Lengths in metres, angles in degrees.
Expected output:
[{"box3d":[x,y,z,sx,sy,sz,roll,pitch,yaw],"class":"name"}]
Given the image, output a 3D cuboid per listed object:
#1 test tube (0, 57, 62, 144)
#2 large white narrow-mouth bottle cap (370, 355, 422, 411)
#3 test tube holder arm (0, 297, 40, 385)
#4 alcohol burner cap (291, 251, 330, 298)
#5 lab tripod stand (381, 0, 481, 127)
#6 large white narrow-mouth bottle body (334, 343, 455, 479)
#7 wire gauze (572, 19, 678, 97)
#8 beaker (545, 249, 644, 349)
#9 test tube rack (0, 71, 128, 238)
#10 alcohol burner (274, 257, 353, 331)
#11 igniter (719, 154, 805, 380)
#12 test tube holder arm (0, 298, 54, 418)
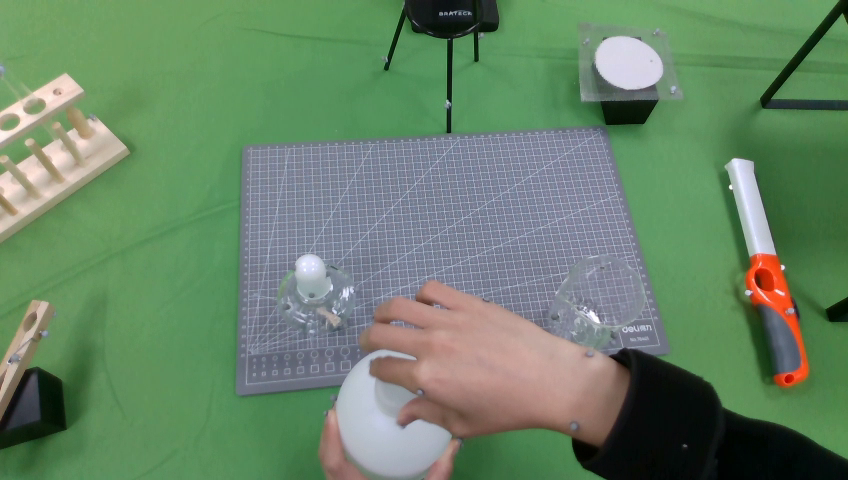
[{"box3d":[-0.414,-0.148,0.626,0.017,0.151,0.017,0,62,0],"class":"test tube"},{"box3d":[-0.020,0.101,0.429,0.038,0.024,0.037,2,64,-3],"class":"large white narrow-mouth bottle cap"},{"box3d":[-0.371,0.095,0.553,0.010,0.015,0.087,6,64,6],"class":"test tube holder arm"},{"box3d":[-0.107,0.030,0.559,0.034,0.048,0.033,0,59,0],"class":"alcohol burner cap"},{"box3d":[0.018,-0.233,0.726,0.148,0.132,0.147,2,65,-5],"class":"lab tripod stand"},{"box3d":[-0.025,0.142,0.509,0.102,0.196,0.101,1,64,-3],"class":"large white narrow-mouth bottle body"},{"box3d":[0.247,-0.226,0.753,0.121,0.011,0.124,3,64,-2],"class":"wire gauze"},{"box3d":[0.163,0.064,0.609,0.084,0.101,0.073,-3,64,-4],"class":"beaker"},{"box3d":[-0.451,-0.067,0.640,0.066,0.086,0.242,41,68,15],"class":"test tube rack"},{"box3d":[-0.109,0.045,0.592,0.078,0.120,0.077,2,62,-4],"class":"alcohol burner"},{"box3d":[0.380,0.022,0.687,0.057,0.025,0.274,6,64,-13],"class":"igniter"},{"box3d":[-0.372,0.136,0.534,0.013,0.015,0.177,8,64,6],"class":"test tube holder arm"}]
